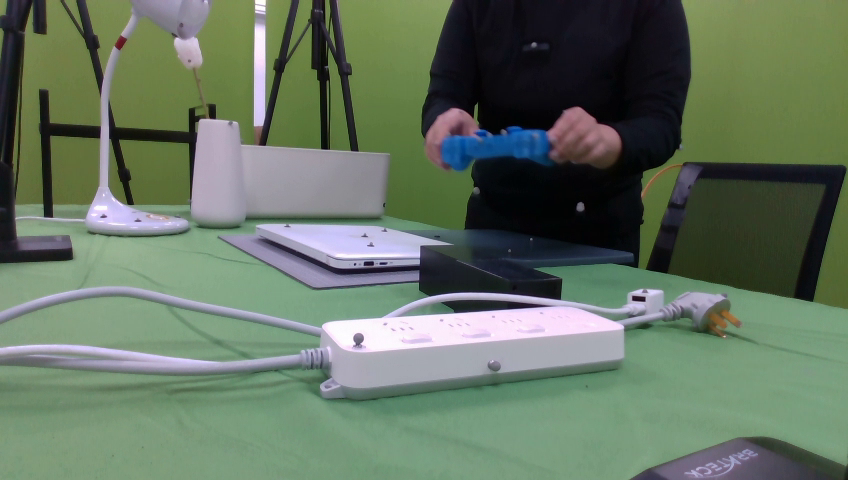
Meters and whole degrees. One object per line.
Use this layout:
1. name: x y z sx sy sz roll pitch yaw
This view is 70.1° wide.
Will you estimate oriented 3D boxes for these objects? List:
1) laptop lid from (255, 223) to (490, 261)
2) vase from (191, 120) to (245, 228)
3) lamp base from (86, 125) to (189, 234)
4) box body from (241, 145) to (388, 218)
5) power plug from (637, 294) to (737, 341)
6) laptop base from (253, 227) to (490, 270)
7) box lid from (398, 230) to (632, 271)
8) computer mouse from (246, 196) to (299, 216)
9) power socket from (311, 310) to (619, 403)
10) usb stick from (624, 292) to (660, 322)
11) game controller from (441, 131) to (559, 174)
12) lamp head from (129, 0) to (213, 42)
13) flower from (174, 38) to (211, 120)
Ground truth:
1. laptop lid: -0.093 0.000 0.911 0.243 0.013 0.355 1 7 -30
2. vase: -0.389 -0.124 1.142 0.098 0.200 0.098 3 9 0
3. lamp base: -0.497 -0.105 1.027 0.179 0.180 0.160 1 7 3
4. box body: -0.297 -0.143 1.474 0.366 0.160 0.253 -1 9 -30
5. power plug: 0.234 0.077 0.535 0.072 0.035 0.052 -32 40 -5
6. laptop base: -0.096 0.012 0.911 0.237 0.023 0.352 2 6 -32
7. box lid: 0.140 0.013 1.044 0.265 0.015 0.369 -1 8 -32
8. computer mouse: -0.346 -0.078 1.381 0.118 0.041 0.062 -9 15 -28
9. power socket: 0.034 0.074 0.415 0.228 0.032 0.072 -1 7 -24
10. usb stick: 0.211 0.064 0.580 0.021 0.027 0.059 -1 -3 37
11. game controller: 0.097 -0.120 0.815 0.154 0.051 0.097 -1 3 22
12. lamp head: -0.423 -0.394 0.980 0.123 0.112 0.112 20 7 -3
13. flower: -0.401 -0.207 1.141 0.038 0.361 0.044 -14 3 44
